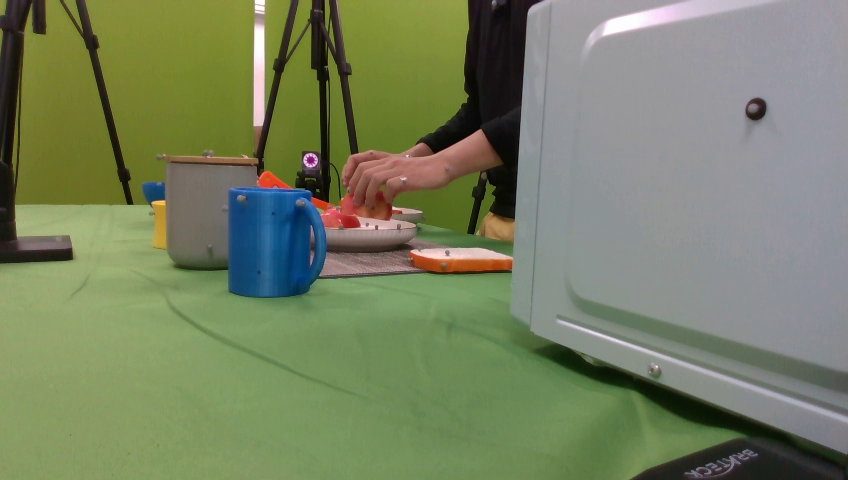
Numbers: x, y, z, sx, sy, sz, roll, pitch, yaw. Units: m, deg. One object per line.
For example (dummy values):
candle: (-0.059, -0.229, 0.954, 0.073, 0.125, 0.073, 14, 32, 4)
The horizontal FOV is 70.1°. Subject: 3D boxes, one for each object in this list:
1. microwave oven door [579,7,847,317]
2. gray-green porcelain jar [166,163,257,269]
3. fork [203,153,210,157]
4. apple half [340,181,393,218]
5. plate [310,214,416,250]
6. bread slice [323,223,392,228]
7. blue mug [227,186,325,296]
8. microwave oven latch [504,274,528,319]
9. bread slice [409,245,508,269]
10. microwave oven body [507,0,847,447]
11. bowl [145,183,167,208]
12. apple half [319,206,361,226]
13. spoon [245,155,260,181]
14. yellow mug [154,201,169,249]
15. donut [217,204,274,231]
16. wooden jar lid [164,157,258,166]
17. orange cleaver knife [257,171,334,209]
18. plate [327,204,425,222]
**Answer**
microwave oven door: (0.294, -0.067, 0.570, 0.358, 0.243, 0.039, -3, 9, -31)
gray-green porcelain jar: (-0.263, -0.031, 0.754, 0.106, 0.126, 0.106, 2, 7, 0)
fork: (-0.480, -0.136, 1.411, 0.028, 0.018, 0.207, 0, -34, -1)
apple half: (-0.087, -0.063, 0.934, 0.081, 0.053, 0.074, 7, 5, -15)
plate: (-0.116, -0.014, 0.967, 0.208, 0.039, 0.207, 2, 8, 0)
bread slice: (-0.116, -0.013, 0.974, 0.135, 0.018, 0.106, -7, 11, -42)
blue mug: (-0.147, 0.000, 0.618, 0.116, 0.106, 0.083, 7, 9, 32)
microwave oven latch: (0.100, 0.041, 0.471, 0.079, 0.029, 0.030, -1, 7, -27)
bread slice: (0.048, 0.021, 0.816, 0.132, 0.019, 0.104, -1, 7, -24)
microwave oven body: (0.331, -0.042, 0.425, 0.444, 0.260, 0.324, -2, 8, -31)
bowl: (-0.459, -0.068, 1.175, 0.151, 0.077, 0.151, 3, 7, 0)
apple half: (-0.142, -0.041, 1.001, 0.081, 0.033, 0.081, 0, 7, 0)
spoon: (-0.421, -0.150, 1.540, 0.042, 0.021, 0.193, -5, 55, -37)
yellow mug: (-0.337, -0.022, 0.899, 0.130, 0.064, 0.100, 8, 9, 34)
donut: (-0.318, -0.038, 1.080, 0.099, 0.048, 0.099, 3, 7, 0)
wooden jar lid: (-0.261, -0.093, 0.746, 0.108, 0.020, 0.108, 1, 9, 0)
orange cleaver knife: (-0.283, -0.087, 1.343, 0.212, 0.077, 0.012, 24, -16, -41)
plate: (-0.102, -0.053, 1.299, 0.209, 0.038, 0.209, 2, 8, 0)
